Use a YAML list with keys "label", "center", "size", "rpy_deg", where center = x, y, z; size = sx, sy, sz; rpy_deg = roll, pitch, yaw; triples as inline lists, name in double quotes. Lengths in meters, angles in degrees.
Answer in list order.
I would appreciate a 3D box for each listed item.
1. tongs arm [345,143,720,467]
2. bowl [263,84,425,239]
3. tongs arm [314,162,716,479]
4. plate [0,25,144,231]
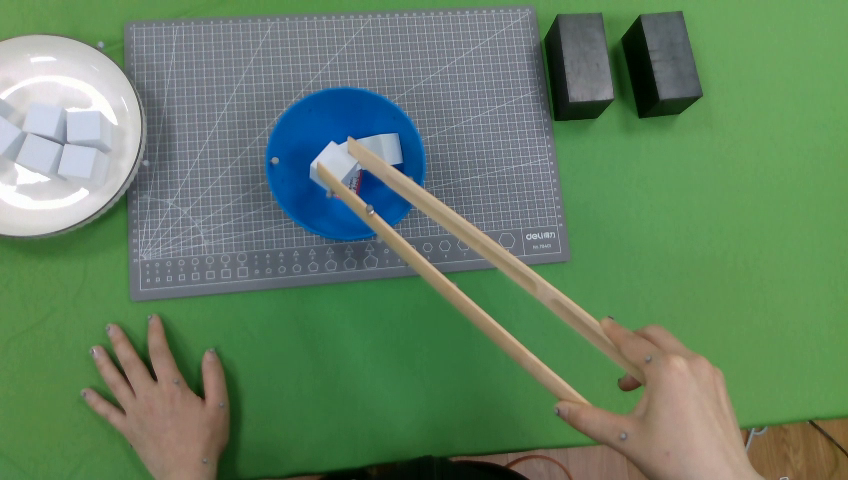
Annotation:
- label: "tongs arm"
  center: [0.067, 0.034, 0.490]
  size: [0.385, 0.028, 0.028]
  rpy_deg: [39, 55, 20]
- label: "bowl"
  center: [-0.078, -0.068, 0.602]
  size: [0.151, 0.077, 0.151]
  rpy_deg: [1, 80, -6]
- label: "tongs arm"
  center: [0.050, 0.047, 0.478]
  size: [0.051, 0.027, 0.381]
  rpy_deg: [-34, 65, -28]
- label: "plate"
  center: [-0.380, -0.108, 0.598]
  size: [0.208, 0.039, 0.207]
  rpy_deg: [1, 80, -5]
